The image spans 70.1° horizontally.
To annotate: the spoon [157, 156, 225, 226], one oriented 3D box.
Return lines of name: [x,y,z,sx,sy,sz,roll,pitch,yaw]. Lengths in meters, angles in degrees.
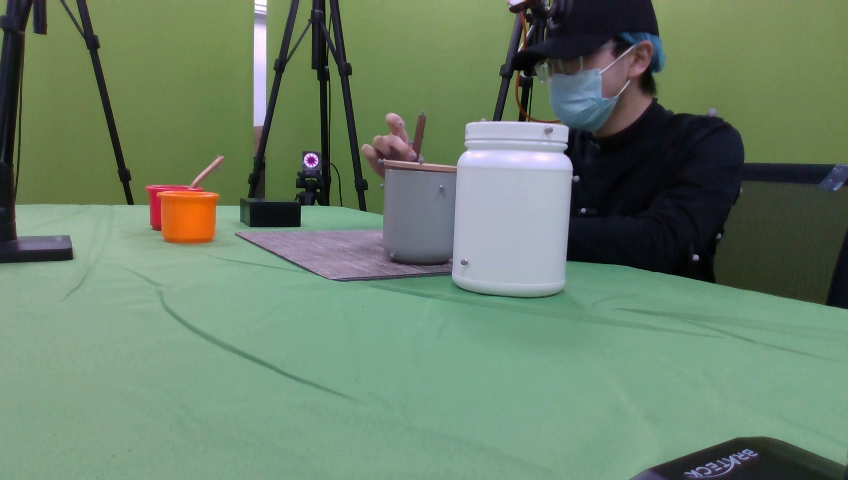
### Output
spoon: [-0.425,-0.094,1.117,0.041,0.022,0.194,3,50,30]

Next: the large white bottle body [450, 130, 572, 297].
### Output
large white bottle body: [0.099,-0.037,0.688,0.131,0.184,0.130,2,7,0]

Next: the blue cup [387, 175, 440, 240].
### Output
blue cup: [-0.020,-0.053,0.986,0.093,0.100,0.092,4,4,0]

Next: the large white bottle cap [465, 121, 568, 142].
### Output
large white bottle cap: [0.103,-0.120,0.677,0.115,0.018,0.115,3,7,0]

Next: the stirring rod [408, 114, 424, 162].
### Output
stirring rod: [-0.022,-0.117,0.979,0.014,0.176,0.006,12,3,24]

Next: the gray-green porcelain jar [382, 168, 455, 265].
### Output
gray-green porcelain jar: [-0.005,-0.034,0.834,0.106,0.126,0.106,3,7,0]

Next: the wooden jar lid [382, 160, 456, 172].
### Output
wooden jar lid: [-0.003,-0.096,0.826,0.108,0.020,0.108,5,10,0]
